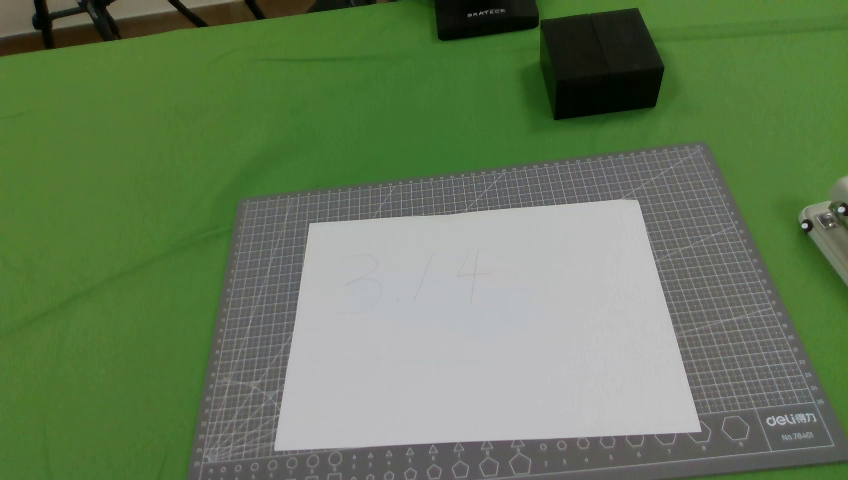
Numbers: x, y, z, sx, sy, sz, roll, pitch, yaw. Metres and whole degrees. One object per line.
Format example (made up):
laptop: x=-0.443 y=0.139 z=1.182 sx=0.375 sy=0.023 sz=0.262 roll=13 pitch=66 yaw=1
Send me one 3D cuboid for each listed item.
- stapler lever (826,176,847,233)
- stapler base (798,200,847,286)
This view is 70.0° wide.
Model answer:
stapler lever: x=0.338 y=0.001 z=0.443 sx=0.027 sy=0.040 sz=0.117 roll=-15 pitch=54 yaw=1
stapler base: x=0.341 y=0.015 z=0.464 sx=0.041 sy=0.025 sz=0.129 roll=-15 pitch=54 yaw=1
